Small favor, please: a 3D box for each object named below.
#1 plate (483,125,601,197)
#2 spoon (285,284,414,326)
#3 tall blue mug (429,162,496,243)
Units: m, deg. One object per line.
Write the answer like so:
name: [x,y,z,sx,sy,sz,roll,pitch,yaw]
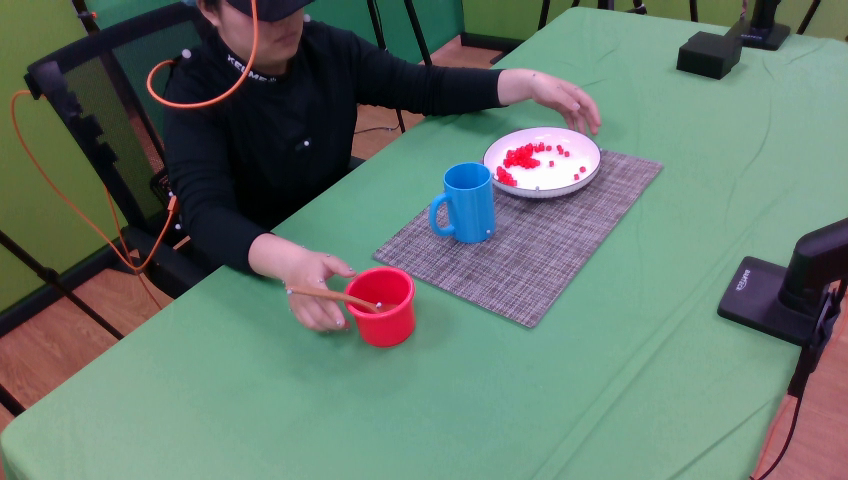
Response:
plate: [0.211,-0.138,1.091,0.207,0.039,0.206,-5,40,5]
spoon: [-0.095,0.083,0.812,0.195,0.021,0.041,22,31,-34]
tall blue mug: [0.067,-0.051,0.960,0.077,0.108,0.107,18,47,28]
